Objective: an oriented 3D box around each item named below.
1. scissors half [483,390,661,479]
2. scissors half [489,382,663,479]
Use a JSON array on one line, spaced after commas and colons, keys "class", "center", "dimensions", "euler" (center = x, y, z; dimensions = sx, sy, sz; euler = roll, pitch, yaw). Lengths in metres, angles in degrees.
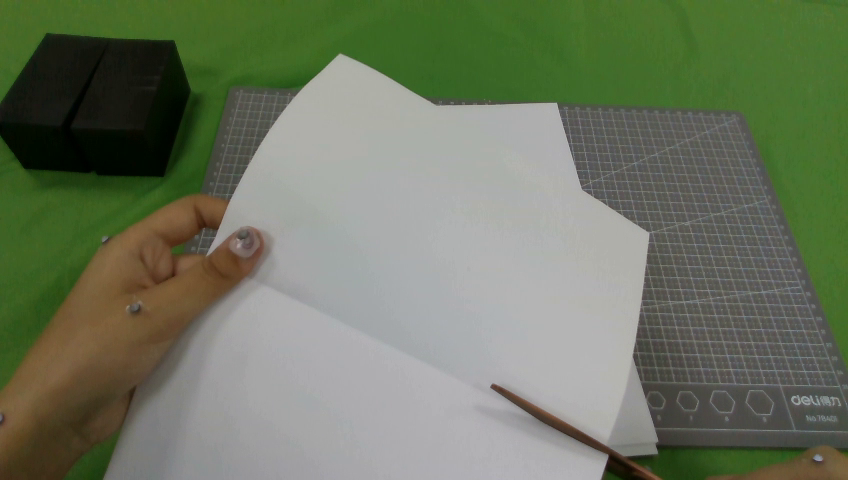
[{"class": "scissors half", "center": [0.103, 0.101, 0.247], "dimensions": [0.174, 0.040, 0.013], "euler": [22, 61, 19]}, {"class": "scissors half", "center": [0.101, 0.110, 0.268], "dimensions": [0.175, 0.040, 0.012], "euler": [34, 68, -6]}]
